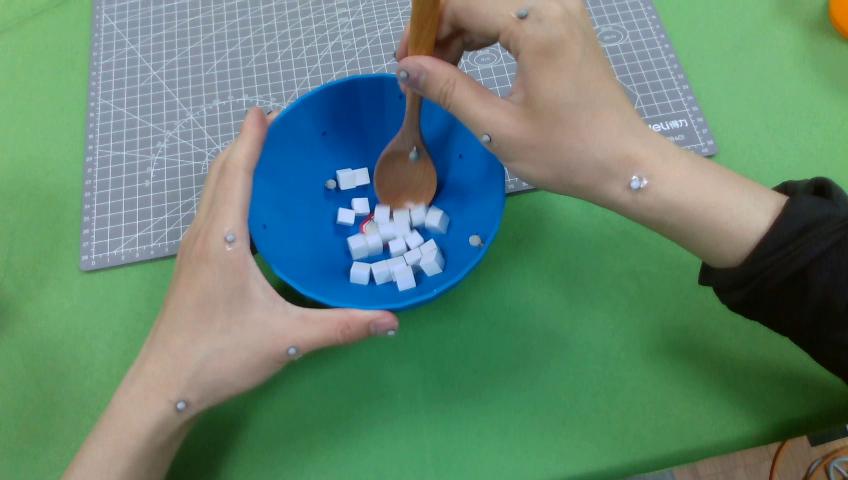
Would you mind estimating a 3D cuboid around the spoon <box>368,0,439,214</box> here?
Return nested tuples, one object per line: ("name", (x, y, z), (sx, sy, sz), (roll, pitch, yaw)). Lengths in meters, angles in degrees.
("spoon", (-0.006, -0.077, 0.323), (0.041, 0.195, 0.021), (14, 58, 1))

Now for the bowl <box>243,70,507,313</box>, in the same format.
("bowl", (-0.027, -0.020, 0.379), (0.151, 0.077, 0.150), (0, 70, 1))
